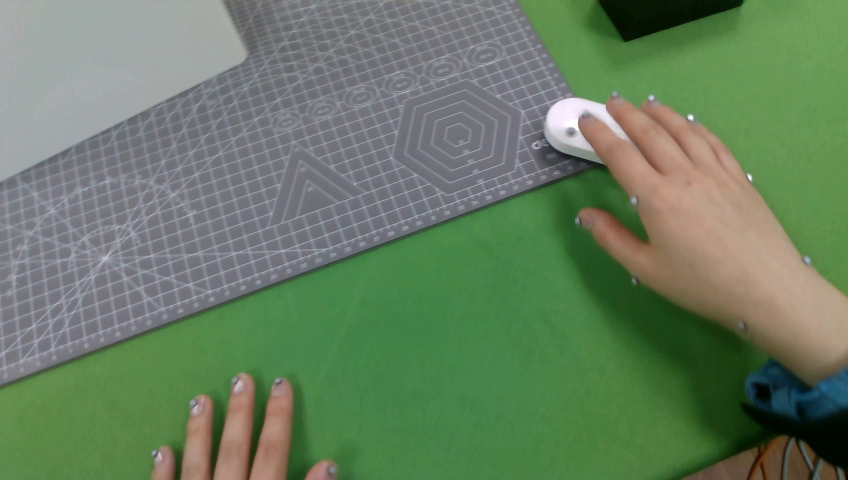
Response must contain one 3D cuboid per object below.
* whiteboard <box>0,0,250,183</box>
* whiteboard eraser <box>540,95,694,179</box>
[{"bbox_3d":[-0.289,-0.223,0.377,0.217,0.309,0.142,-30,47,-10],"label":"whiteboard"},{"bbox_3d":[0.130,-0.070,0.410,0.101,0.019,0.041,18,65,8],"label":"whiteboard eraser"}]
